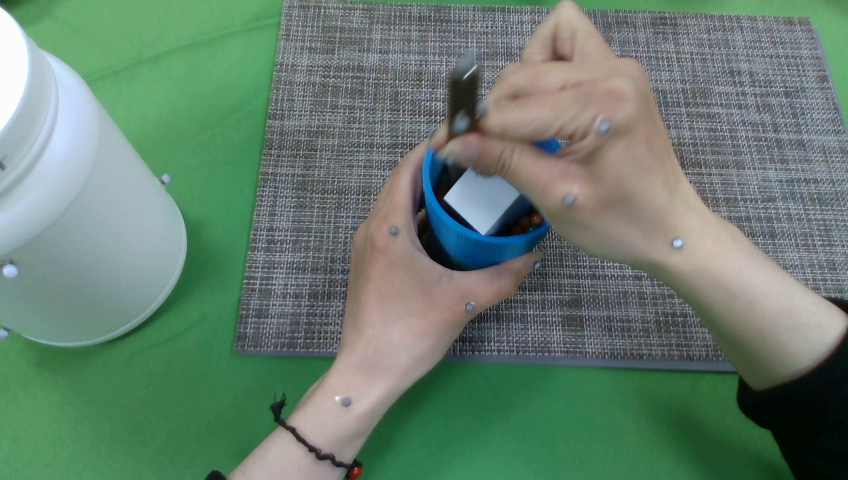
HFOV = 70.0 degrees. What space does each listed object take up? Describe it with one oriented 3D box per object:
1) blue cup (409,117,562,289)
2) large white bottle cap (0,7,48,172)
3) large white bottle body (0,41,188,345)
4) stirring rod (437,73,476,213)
[{"bbox_3d":[0.035,-0.013,0.382,0.092,0.101,0.092,0,66,1],"label":"blue cup"},{"bbox_3d":[-0.223,-0.061,0.257,0.115,0.018,0.114,1,66,-1],"label":"large white bottle cap"},{"bbox_3d":[-0.224,-0.026,0.334,0.131,0.186,0.129,1,66,-1],"label":"large white bottle body"},{"bbox_3d":[0.019,-0.041,0.315,0.014,0.177,0.006,-22,76,0],"label":"stirring rod"}]
